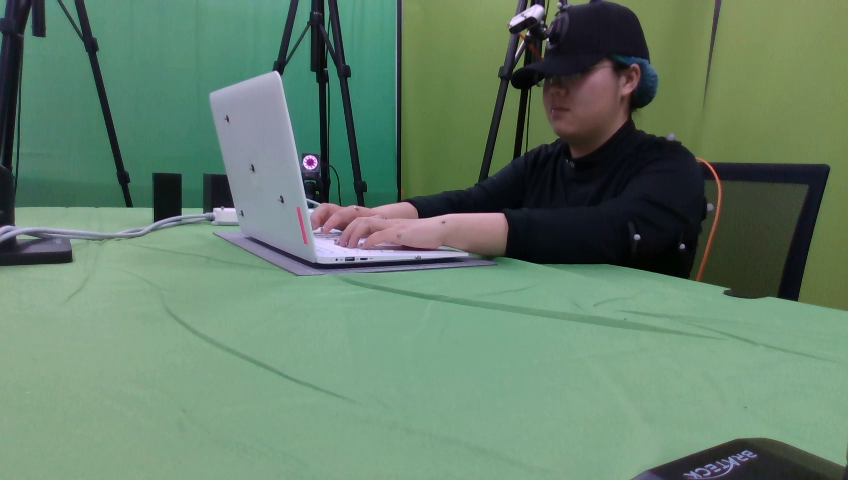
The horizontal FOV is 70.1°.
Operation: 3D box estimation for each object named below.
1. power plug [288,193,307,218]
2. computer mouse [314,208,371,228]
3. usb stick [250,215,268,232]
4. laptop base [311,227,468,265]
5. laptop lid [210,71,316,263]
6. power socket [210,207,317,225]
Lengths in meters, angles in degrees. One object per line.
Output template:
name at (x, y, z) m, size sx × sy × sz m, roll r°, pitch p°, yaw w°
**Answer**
power plug at (-0.281, -0.076, 1.340) m, size 0.035 × 0.052 × 0.072 m, roll 4°, pitch 6°, yaw -18°
computer mouse at (-0.173, -0.046, 1.284) m, size 0.118 × 0.041 × 0.062 m, roll -7°, pitch 13°, yaw -29°
usb stick at (-0.291, -0.028, 1.069) m, size 0.021 × 0.027 × 0.059 m, roll -1°, pitch 11°, yaw -30°
laptop base at (-0.123, 0.007, 0.951) m, size 0.237 × 0.023 × 0.352 m, roll 2°, pitch 6°, yaw -32°
laptop lid at (-0.241, -0.104, 0.861) m, size 0.013 × 0.241 × 0.355 m, roll -16°, pitch 17°, yaw -29°
power socket at (-0.334, -0.051, 1.281) m, size 0.228 × 0.032 × 0.072 m, roll -1°, pitch 8°, yaw -28°
